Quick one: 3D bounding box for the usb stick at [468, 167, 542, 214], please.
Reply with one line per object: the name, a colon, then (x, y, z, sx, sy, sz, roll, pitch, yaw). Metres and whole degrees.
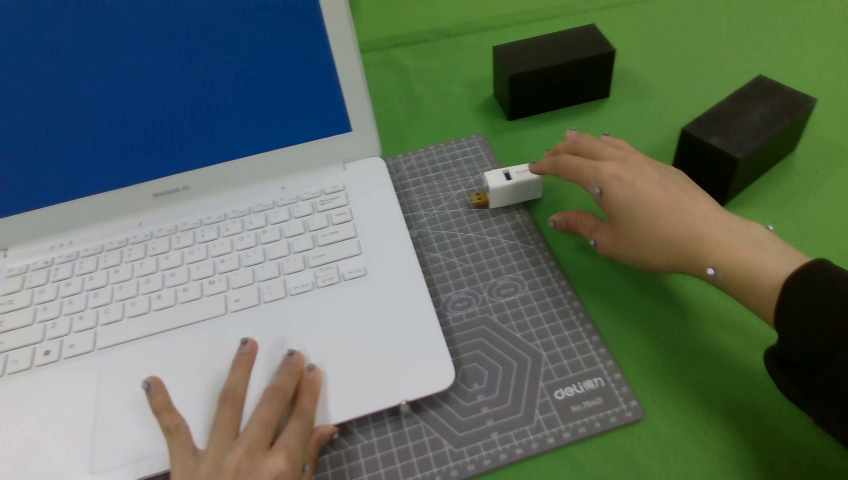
usb stick: (0.064, -0.039, 0.489, 0.059, 0.027, 0.021, -14, 46, -1)

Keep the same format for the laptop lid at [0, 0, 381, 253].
laptop lid: (-0.225, -0.117, 0.454, 0.357, 0.244, 0.013, -17, 33, -5)

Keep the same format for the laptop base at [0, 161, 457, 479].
laptop base: (-0.175, 0.062, 0.441, 0.355, 0.023, 0.233, -15, 51, -6)
